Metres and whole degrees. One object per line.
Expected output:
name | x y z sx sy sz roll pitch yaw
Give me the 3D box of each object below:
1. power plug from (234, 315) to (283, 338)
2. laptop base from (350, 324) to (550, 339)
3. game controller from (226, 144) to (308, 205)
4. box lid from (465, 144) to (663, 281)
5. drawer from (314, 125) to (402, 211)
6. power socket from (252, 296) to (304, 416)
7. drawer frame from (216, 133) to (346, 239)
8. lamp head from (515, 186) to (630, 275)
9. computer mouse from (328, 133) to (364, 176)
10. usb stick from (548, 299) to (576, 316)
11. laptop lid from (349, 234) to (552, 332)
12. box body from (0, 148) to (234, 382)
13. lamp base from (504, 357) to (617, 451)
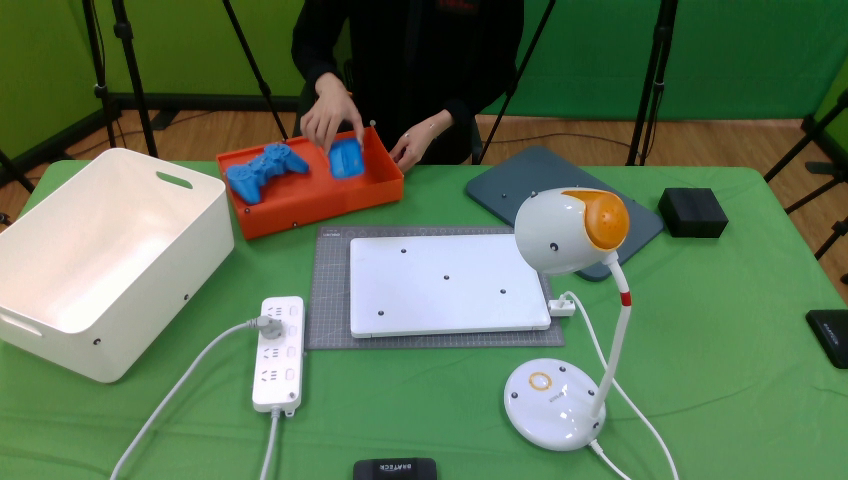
power plug | -0.269 0.143 1.000 0.072 0.053 0.035 4 47 2
laptop base | 0.039 0.081 1.124 0.355 0.023 0.234 -2 43 -6
game controller | -0.314 -0.139 1.194 0.096 0.052 0.155 30 50 26
box lid | 0.297 -0.072 1.298 0.263 0.015 0.369 -33 56 -31
drawer | -0.176 -0.148 1.289 0.212 0.073 0.193 -16 49 -18
power socket | -0.238 0.182 0.997 0.072 0.033 0.225 -3 47 -5
drawer frame | -0.291 -0.115 1.244 0.214 0.083 0.200 -18 51 -20
lamp head | 0.188 -0.013 0.728 0.112 0.112 0.122 -25 9 -25
computer mouse | -0.150 -0.167 1.157 0.063 0.041 0.116 -11 43 -2
usb stick | 0.239 0.121 1.084 0.059 0.027 0.021 -1 51 -1
laptop lid | 0.040 0.071 1.117 0.357 0.013 0.240 0 44 -5
box body | -0.525 0.033 1.027 0.254 0.161 0.362 18 47 13
lamp base | 0.220 0.211 0.903 0.160 0.181 0.178 -33 59 -30
